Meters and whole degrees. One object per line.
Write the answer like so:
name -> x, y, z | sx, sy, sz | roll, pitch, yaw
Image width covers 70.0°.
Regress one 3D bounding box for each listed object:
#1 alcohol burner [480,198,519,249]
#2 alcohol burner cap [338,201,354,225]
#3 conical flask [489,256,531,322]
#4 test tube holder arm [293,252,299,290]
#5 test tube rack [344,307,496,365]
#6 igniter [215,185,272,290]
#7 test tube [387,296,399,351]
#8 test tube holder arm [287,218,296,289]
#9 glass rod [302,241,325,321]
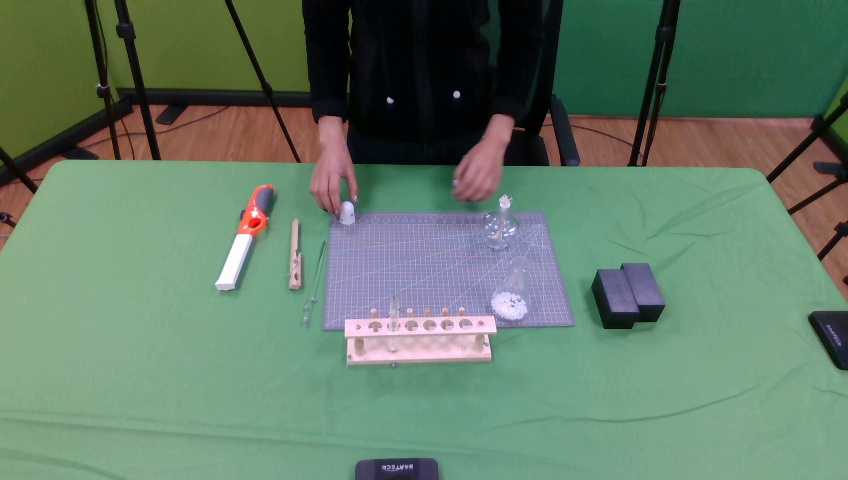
alcohol burner -> 0.150, -0.039, 1.182 | 0.078, 0.119, 0.077 | 3, 47, -3
alcohol burner cap -> -0.159, -0.056, 1.224 | 0.034, 0.048, 0.033 | 2, 46, -2
conical flask -> 0.158, 0.081, 1.061 | 0.075, 0.122, 0.075 | 2, 46, -2
test tube holder arm -> -0.241, 0.056, 1.131 | 0.010, 0.015, 0.087 | 24, 35, -33
test tube rack -> -0.009, 0.154, 1.007 | 0.242, 0.085, 0.066 | -1, 46, -5
igniter -> -0.347, -0.014, 1.182 | 0.057, 0.025, 0.275 | -1, 45, 8
test tube -> -0.049, 0.135, 0.953 | 0.017, 0.151, 0.017 | 2, 51, -3
test tube holder arm -> -0.254, 0.022, 1.158 | 0.013, 0.015, 0.177 | 23, 36, -34
glass rod -> -0.204, 0.072, 1.124 | 0.008, 0.008, 0.198 | 4, 43, 1
